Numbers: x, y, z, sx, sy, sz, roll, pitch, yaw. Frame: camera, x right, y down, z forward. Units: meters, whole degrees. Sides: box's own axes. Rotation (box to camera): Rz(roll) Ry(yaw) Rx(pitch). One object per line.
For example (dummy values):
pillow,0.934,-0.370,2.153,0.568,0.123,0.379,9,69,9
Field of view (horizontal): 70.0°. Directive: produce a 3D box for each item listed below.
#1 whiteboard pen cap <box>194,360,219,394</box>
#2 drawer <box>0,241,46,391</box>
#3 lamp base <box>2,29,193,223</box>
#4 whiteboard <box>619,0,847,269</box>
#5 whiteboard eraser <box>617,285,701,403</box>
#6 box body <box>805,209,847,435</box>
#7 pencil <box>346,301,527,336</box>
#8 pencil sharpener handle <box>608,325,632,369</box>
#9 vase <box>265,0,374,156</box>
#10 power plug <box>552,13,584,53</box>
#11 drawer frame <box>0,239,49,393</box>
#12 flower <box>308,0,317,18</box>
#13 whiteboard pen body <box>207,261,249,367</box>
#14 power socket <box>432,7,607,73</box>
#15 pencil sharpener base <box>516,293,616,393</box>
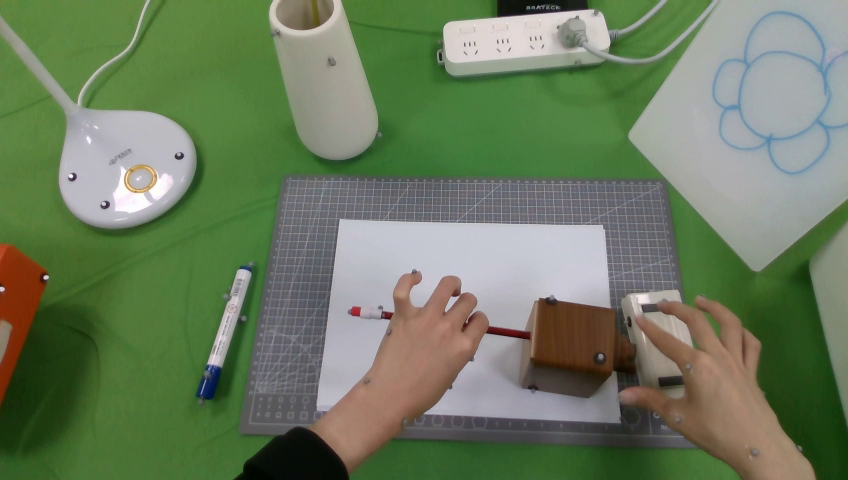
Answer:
whiteboard pen cap,-0.217,0.136,0.606,0.018,0.018,0.033,5,59,5
drawer,-0.497,0.093,0.559,0.211,0.074,0.193,4,66,4
lamp base,-0.369,-0.131,0.656,0.178,0.182,0.160,32,69,19
whiteboard,0.385,-0.156,0.607,0.144,0.307,0.215,-20,63,-28
whiteboard eraser,0.230,0.102,0.599,0.055,0.042,0.111,-4,64,-2
box body,0.513,0.128,0.512,0.254,0.161,0.361,0,65,2
pencil,0.025,0.073,0.551,0.194,0.012,0.012,8,65,3
pencil sharpener handle,0.181,0.101,0.551,0.030,0.068,0.035,7,61,6
vase,-0.113,-0.179,0.660,0.098,0.201,0.097,-1,64,3
power plug,0.176,-0.247,0.748,0.035,0.053,0.072,5,66,5
drawer frame,-0.503,0.095,0.561,0.213,0.083,0.200,4,65,2
flower,-0.109,-0.231,0.593,0.038,0.365,0.043,-10,46,-10
whiteboard pen body,-0.208,0.086,0.634,0.017,0.017,0.139,5,61,5
power socket,0.124,-0.258,0.781,0.227,0.033,0.071,-4,65,0
pencil sharpener base,0.131,0.099,0.567,0.076,0.108,0.061,7,65,6
